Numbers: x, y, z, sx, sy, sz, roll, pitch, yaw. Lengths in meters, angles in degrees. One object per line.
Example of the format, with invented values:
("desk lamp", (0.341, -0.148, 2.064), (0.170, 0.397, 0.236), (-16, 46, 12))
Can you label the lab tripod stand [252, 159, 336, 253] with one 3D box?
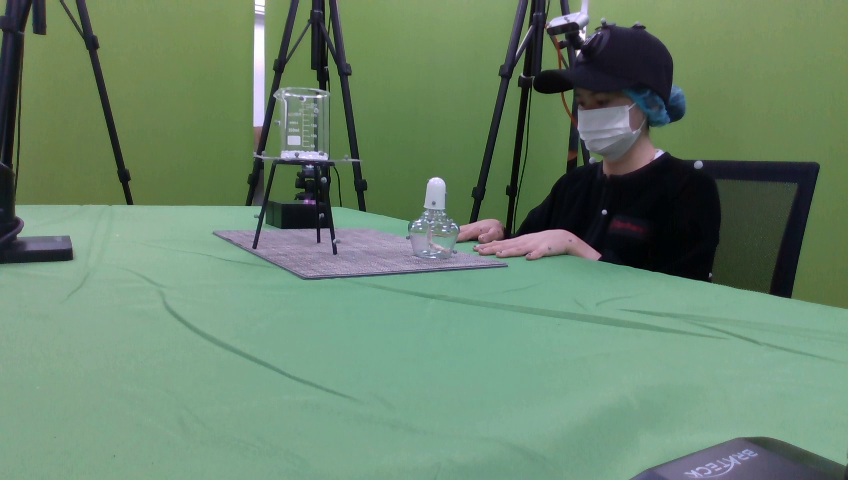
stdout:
("lab tripod stand", (-0.180, -0.053, 0.900), (0.148, 0.131, 0.148), (1, 6, 0))

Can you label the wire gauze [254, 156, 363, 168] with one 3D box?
("wire gauze", (-0.172, -0.117, 0.891), (0.122, 0.011, 0.124), (0, 3, -38))

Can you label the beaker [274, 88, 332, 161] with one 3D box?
("beaker", (-0.176, -0.165, 0.879), (0.084, 0.100, 0.074), (2, 5, 1))

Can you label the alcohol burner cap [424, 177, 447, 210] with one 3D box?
("alcohol burner cap", (0.018, -0.067, 0.876), (0.034, 0.048, 0.034), (4, 12, -1))

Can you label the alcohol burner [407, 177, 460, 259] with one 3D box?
("alcohol burner", (0.015, -0.032, 0.882), (0.078, 0.119, 0.078), (3, 5, 0))
